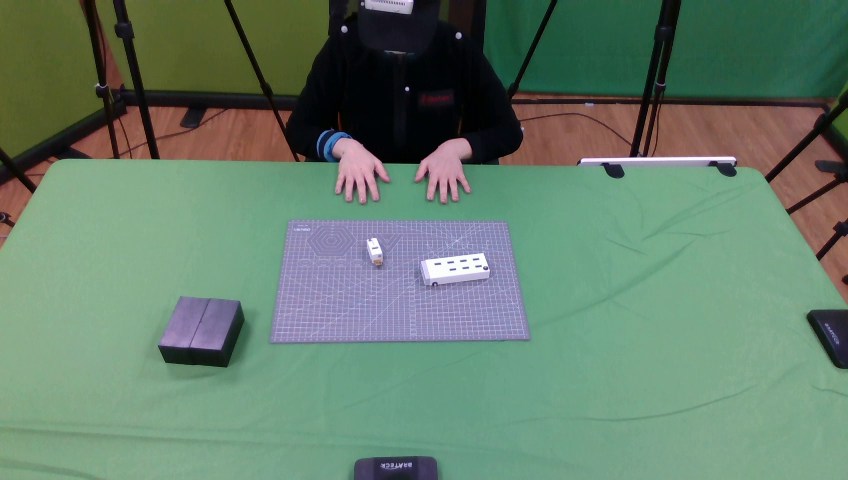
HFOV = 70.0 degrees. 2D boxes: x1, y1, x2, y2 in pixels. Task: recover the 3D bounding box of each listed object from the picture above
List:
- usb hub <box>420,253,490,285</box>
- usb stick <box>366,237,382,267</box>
[{"bbox_3d":[0.059,0.055,1.142,0.125,0.025,0.049,-7,47,-10],"label":"usb hub"},{"bbox_3d":[-0.093,0.025,1.159,0.021,0.027,0.059,-10,51,-15],"label":"usb stick"}]
